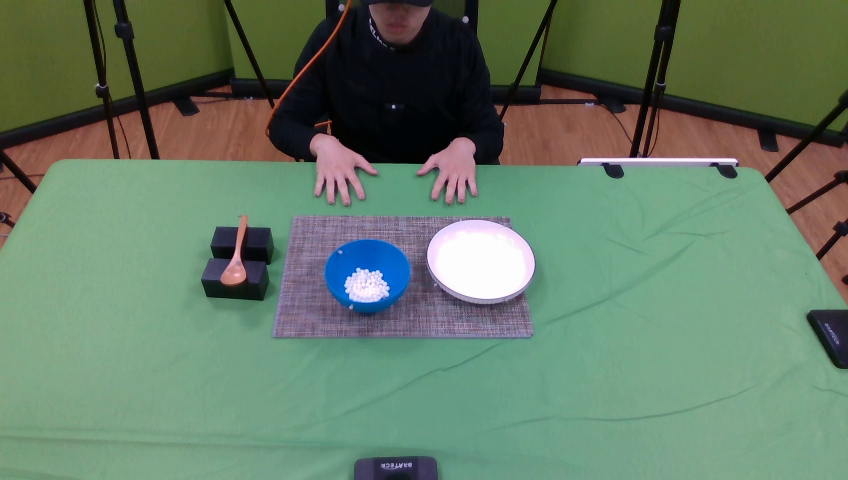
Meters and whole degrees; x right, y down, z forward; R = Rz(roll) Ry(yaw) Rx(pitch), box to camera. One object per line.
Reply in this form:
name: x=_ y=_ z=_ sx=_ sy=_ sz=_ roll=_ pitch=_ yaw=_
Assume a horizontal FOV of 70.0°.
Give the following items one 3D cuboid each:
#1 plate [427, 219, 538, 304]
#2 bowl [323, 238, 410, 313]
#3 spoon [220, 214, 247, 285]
plate: x=0.109 y=0.044 z=1.149 sx=0.208 sy=0.039 sz=0.206 roll=2 pitch=46 yaw=-2
bowl: x=-0.101 y=0.077 z=1.073 sx=0.151 sy=0.077 sz=0.150 roll=2 pitch=46 yaw=-2
spoon: x=-0.334 y=0.014 z=1.094 sx=0.041 sy=0.022 sz=0.192 roll=-1 pitch=45 yaw=-6
